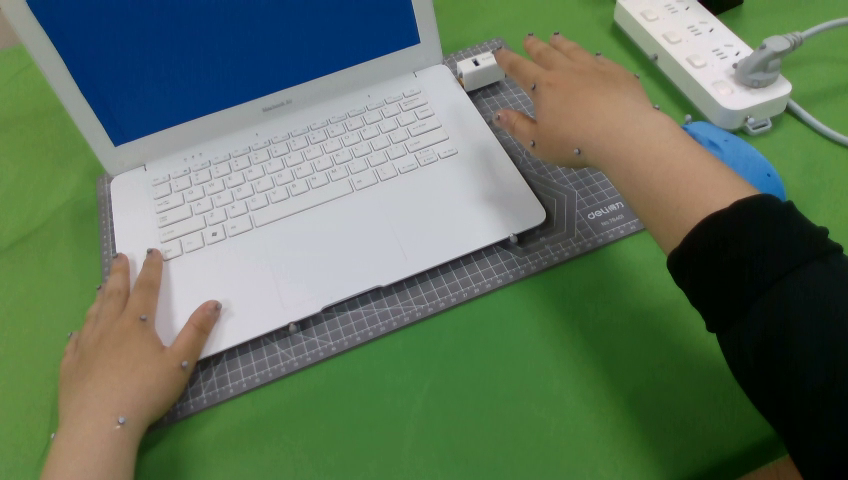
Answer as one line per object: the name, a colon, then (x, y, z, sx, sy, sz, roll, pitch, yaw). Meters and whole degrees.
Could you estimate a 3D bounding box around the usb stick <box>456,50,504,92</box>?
usb stick: (0.050, -0.168, 0.610, 0.059, 0.027, 0.021, -21, 52, -4)

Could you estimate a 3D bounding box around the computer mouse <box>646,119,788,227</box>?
computer mouse: (0.240, -0.063, 0.503, 0.063, 0.041, 0.116, -22, 47, -6)

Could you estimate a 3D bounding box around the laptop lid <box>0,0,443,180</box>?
laptop lid: (-0.166, -0.205, 0.542, 0.357, 0.244, 0.013, -23, 40, -6)

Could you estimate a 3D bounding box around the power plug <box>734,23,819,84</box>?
power plug: (0.314, -0.157, 0.539, 0.072, 0.053, 0.035, -10, 55, 1)

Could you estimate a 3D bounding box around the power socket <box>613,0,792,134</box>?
power socket: (0.266, -0.189, 0.598, 0.072, 0.033, 0.224, -19, 53, -5)

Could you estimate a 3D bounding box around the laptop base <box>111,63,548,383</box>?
laptop base: (-0.098, -0.034, 0.548, 0.354, 0.023, 0.233, -22, 57, -8)
